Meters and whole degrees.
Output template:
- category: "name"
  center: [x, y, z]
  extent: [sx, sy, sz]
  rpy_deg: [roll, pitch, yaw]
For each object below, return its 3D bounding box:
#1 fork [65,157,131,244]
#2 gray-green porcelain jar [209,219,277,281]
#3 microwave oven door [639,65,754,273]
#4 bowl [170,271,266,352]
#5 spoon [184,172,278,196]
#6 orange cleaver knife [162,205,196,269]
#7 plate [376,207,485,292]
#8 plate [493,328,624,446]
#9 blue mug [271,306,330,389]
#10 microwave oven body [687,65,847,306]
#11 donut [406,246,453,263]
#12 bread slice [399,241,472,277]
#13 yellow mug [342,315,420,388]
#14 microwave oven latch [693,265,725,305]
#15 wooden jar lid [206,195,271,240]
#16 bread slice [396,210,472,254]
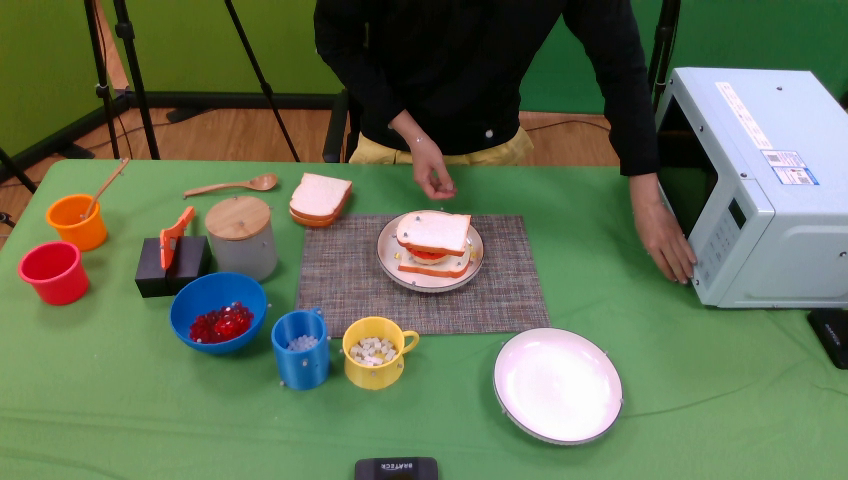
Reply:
- category: "fork"
  center: [-0.609, -0.074, 1.133]
  extent: [0.207, 0.019, 0.028]
  rpy_deg: [-52, 51, 10]
- category: "gray-green porcelain jar"
  center: [-0.323, 0.007, 1.092]
  extent: [0.106, 0.127, 0.105]
  rpy_deg: [2, 46, -2]
- category: "microwave oven door"
  center: [0.522, -0.147, 1.193]
  extent: [0.039, 0.245, 0.353]
  rpy_deg: [0, 47, -3]
- category: "bowl"
  center: [-0.333, 0.132, 1.006]
  extent: [0.151, 0.077, 0.150]
  rpy_deg: [2, 46, -2]
- category: "spoon"
  center: [-0.405, -0.116, 1.275]
  extent: [0.194, 0.022, 0.041]
  rpy_deg: [-8, 65, -12]
- category: "orange cleaver knife"
  center: [-0.454, -0.010, 1.129]
  extent: [0.012, 0.077, 0.210]
  rpy_deg: [-1, 20, -5]
- category: "plate"
  center: [0.012, 0.021, 1.158]
  extent: [0.209, 0.038, 0.208]
  rpy_deg: [2, 47, -2]
- category: "plate"
  center: [0.213, 0.236, 0.974]
  extent: [0.208, 0.039, 0.206]
  rpy_deg: [2, 46, -2]
- category: "blue mug"
  center: [-0.188, 0.163, 0.969]
  extent: [0.082, 0.106, 0.116]
  rpy_deg: [15, 47, 10]
- category: "microwave oven body"
  center: [0.669, -0.111, 1.176]
  extent: [0.326, 0.261, 0.439]
  rpy_deg: [0, 46, -3]
- category: "donut"
  center: [0.013, 0.001, 1.139]
  extent: [0.099, 0.048, 0.098]
  rpy_deg: [2, 48, -2]
- category: "bread slice"
  center: [0.026, 0.024, 1.158]
  extent: [0.131, 0.019, 0.104]
  rpy_deg: [8, 46, 4]
- category: "yellow mug"
  center: [-0.068, 0.177, 0.990]
  extent: [0.131, 0.064, 0.099]
  rpy_deg: [-16, 50, -19]
- category: "microwave oven latch"
  center: [0.523, 0.081, 1.115]
  extent: [0.030, 0.029, 0.078]
  rpy_deg: [2, 46, -1]
- category: "wooden jar lid"
  center: [-0.319, -0.036, 1.046]
  extent: [0.108, 0.021, 0.107]
  rpy_deg: [1, 44, 0]
- category: "bread slice"
  center: [0.017, -0.016, 1.113]
  extent: [0.134, 0.018, 0.106]
  rpy_deg: [3, 40, 6]
